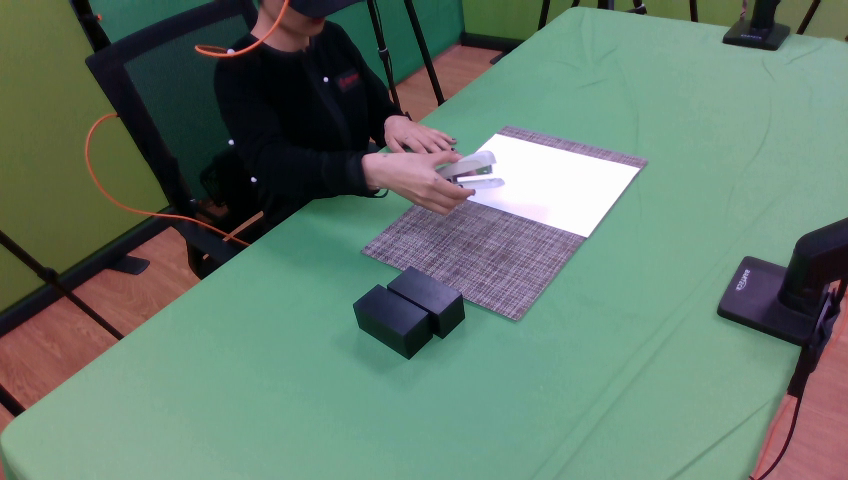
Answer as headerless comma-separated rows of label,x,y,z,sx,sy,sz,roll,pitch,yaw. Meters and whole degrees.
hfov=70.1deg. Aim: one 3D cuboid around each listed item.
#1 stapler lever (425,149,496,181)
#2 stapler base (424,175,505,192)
stapler lever,0.057,-0.118,0.955,0.117,0.040,0.027,-3,10,28
stapler base,0.063,-0.094,0.960,0.130,0.024,0.041,-4,9,28
